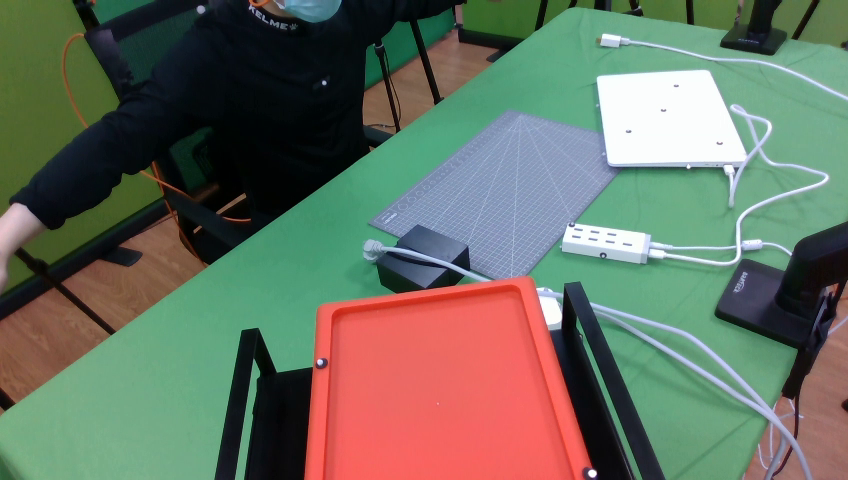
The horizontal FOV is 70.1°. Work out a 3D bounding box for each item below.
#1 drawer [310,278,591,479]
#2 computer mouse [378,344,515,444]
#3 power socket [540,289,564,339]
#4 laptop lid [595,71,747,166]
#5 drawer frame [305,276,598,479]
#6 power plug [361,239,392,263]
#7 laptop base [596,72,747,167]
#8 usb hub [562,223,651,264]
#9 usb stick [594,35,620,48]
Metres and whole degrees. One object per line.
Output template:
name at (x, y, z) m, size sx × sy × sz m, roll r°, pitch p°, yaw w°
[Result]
drawer at (0.013, 0.137, 0.489) m, size 0.195 × 0.073 × 0.210 m, roll -7°, pitch 41°, yaw 0°
computer mouse at (0.018, 0.126, 0.520) m, size 0.116 × 0.041 × 0.063 m, roll 13°, pitch 47°, yaw 29°
power socket at (0.080, 0.112, 0.822) m, size 0.227 × 0.033 × 0.072 m, roll -7°, pitch 41°, yaw -1°
laptop lid at (0.465, -0.248, 1.181) m, size 0.241 × 0.013 × 0.355 m, roll 1°, pitch 41°, yaw 12°
drawer frame at (0.014, 0.137, 0.486) m, size 0.202 × 0.083 × 0.212 m, roll -8°, pitch 41°, yaw -1°
power plug at (-0.070, 0.024, 0.930) m, size 0.072 × 0.053 × 0.035 m, roll 31°, pitch 82°, yaw 41°
laptop base at (0.469, -0.239, 1.188) m, size 0.235 × 0.023 × 0.353 m, roll -1°, pitch 40°, yaw 12°
usb hub at (0.279, 0.004, 0.926) m, size 0.124 × 0.025 × 0.049 m, roll 10°, pitch 43°, yaw 19°
usb stick at (0.443, -0.482, 1.466) m, size 0.059 × 0.021 × 0.027 m, roll 9°, pitch 43°, yaw 9°
